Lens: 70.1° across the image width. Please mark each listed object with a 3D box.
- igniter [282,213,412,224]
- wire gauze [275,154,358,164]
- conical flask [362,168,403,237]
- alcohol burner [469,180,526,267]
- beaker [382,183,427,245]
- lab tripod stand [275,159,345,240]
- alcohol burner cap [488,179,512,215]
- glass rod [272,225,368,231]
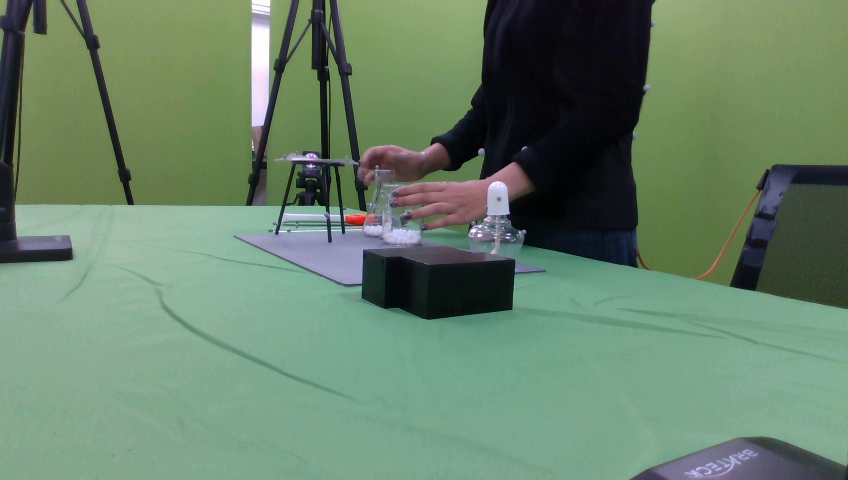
[{"bbox_3d":[-0.159,-0.046,1.287,0.278,0.025,0.057,-1,-3,-21],"label":"igniter"},{"bbox_3d":[-0.179,-0.137,1.028,0.121,0.011,0.125,4,8,0],"label":"wire gauze"},{"bbox_3d":[-0.073,-0.069,1.096,0.075,0.122,0.075,3,7,0],"label":"conical flask"},{"bbox_3d":[0.101,-0.022,0.821,0.078,0.119,0.078,4,8,0],"label":"alcohol burner"},{"bbox_3d":[-0.032,-0.044,1.008,0.074,0.100,0.084,5,7,22],"label":"beaker"},{"bbox_3d":[-0.181,-0.072,1.039,0.148,0.131,0.148,4,8,0],"label":"lab tripod stand"},{"bbox_3d":[0.101,-0.058,0.816,0.034,0.048,0.034,-5,8,1],"label":"alcohol burner cap"},{"bbox_3d":[-0.197,-0.023,1.170,0.201,0.008,0.008,-3,8,-34],"label":"glass rod"}]
